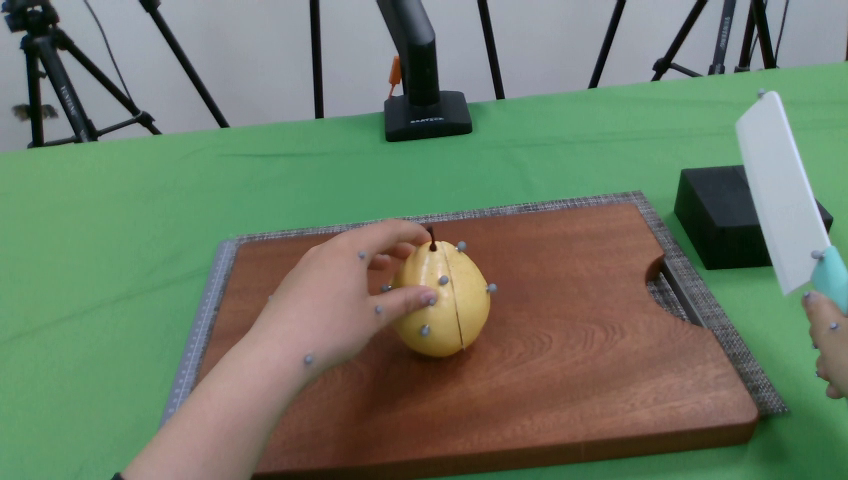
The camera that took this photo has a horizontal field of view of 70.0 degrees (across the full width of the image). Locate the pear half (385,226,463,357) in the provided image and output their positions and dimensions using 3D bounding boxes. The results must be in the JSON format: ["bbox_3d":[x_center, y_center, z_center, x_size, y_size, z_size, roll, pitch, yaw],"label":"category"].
[{"bbox_3d":[-0.003,0.036,0.451,0.056,0.111,0.075,-12,34,-6],"label":"pear half"}]

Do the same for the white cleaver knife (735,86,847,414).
[{"bbox_3d":[0.281,0.008,0.448,0.021,0.066,0.284,3,61,-3],"label":"white cleaver knife"}]

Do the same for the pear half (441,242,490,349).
[{"bbox_3d":[0.033,0.039,0.459,0.031,0.089,0.070,-11,29,-7],"label":"pear half"}]
